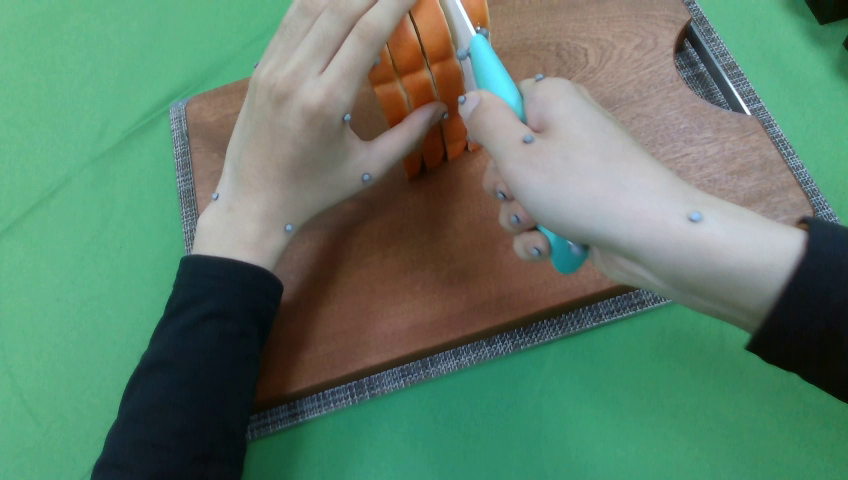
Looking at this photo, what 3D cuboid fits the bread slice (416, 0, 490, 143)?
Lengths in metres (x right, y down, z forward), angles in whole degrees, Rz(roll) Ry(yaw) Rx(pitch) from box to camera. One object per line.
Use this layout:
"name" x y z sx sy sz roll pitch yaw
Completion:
"bread slice" 0.018 -0.142 0.401 0.019 0.132 0.104 -19 66 -7

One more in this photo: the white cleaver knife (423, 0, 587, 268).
"white cleaver knife" 0.025 -0.113 0.350 0.021 0.066 0.284 -20 72 -3

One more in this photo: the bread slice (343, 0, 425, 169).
"bread slice" -0.031 -0.126 0.402 0.018 0.135 0.106 -21 63 2
